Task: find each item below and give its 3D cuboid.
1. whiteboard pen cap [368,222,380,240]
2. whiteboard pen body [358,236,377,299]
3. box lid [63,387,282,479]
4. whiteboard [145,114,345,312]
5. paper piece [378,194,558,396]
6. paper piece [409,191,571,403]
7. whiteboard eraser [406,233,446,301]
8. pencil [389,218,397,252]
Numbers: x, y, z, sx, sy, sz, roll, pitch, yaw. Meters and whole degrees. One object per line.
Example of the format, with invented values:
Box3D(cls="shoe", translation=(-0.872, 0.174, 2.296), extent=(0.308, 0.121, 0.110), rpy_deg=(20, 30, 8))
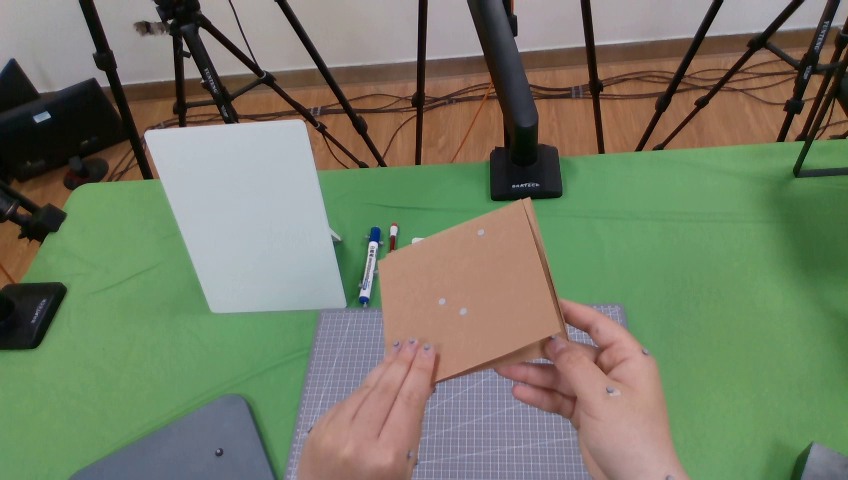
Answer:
Box3D(cls="whiteboard pen cap", translation=(-0.082, -0.013, 0.993), extent=(0.018, 0.018, 0.033), rpy_deg=(-3, 50, 7))
Box3D(cls="whiteboard pen body", translation=(-0.087, 0.033, 0.958), extent=(0.017, 0.017, 0.139), rpy_deg=(-1, 51, 9))
Box3D(cls="box lid", translation=(-0.285, 0.372, 0.722), extent=(0.263, 0.015, 0.367), rpy_deg=(-27, 53, -12))
Box3D(cls="whiteboard", translation=(-0.234, -0.058, 0.908), extent=(0.217, 0.308, 0.142), rpy_deg=(-2, 32, 8))
Box3D(cls="paper piece", translation=(0.024, 0.036, 0.457), extent=(0.135, 0.004, 0.134), rpy_deg=(-25, 43, 18))
Box3D(cls="paper piece", translation=(0.037, 0.042, 0.470), extent=(0.136, 0.009, 0.137), rpy_deg=(-30, 50, 27))
Box3D(cls="whiteboard eraser", translation=(0.004, 0.040, 0.922), extent=(0.055, 0.042, 0.111), rpy_deg=(-3, 52, 9))
Box3D(cls="pencil", translation=(-0.053, 0.040, 0.951), extent=(0.012, 0.012, 0.192), rpy_deg=(-4, 51, 6))
